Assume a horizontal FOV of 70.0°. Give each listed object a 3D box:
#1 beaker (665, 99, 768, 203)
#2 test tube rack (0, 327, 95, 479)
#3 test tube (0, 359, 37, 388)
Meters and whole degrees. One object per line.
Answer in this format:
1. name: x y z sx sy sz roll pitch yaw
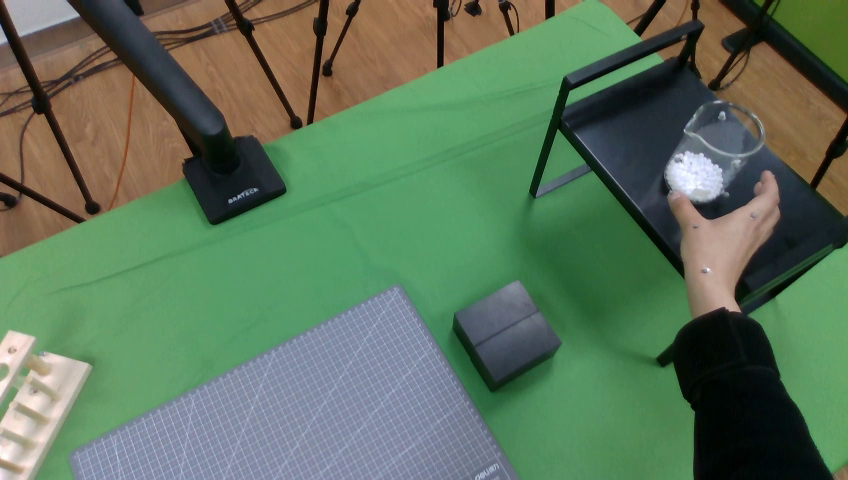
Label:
1. beaker: 0.316 -0.094 0.674 0.084 0.101 0.073 0 61 -1
2. test tube rack: -0.481 0.230 0.684 0.066 0.086 0.240 14 62 6
3. test tube: -0.481 0.139 0.676 0.017 0.151 0.017 -1 61 2
